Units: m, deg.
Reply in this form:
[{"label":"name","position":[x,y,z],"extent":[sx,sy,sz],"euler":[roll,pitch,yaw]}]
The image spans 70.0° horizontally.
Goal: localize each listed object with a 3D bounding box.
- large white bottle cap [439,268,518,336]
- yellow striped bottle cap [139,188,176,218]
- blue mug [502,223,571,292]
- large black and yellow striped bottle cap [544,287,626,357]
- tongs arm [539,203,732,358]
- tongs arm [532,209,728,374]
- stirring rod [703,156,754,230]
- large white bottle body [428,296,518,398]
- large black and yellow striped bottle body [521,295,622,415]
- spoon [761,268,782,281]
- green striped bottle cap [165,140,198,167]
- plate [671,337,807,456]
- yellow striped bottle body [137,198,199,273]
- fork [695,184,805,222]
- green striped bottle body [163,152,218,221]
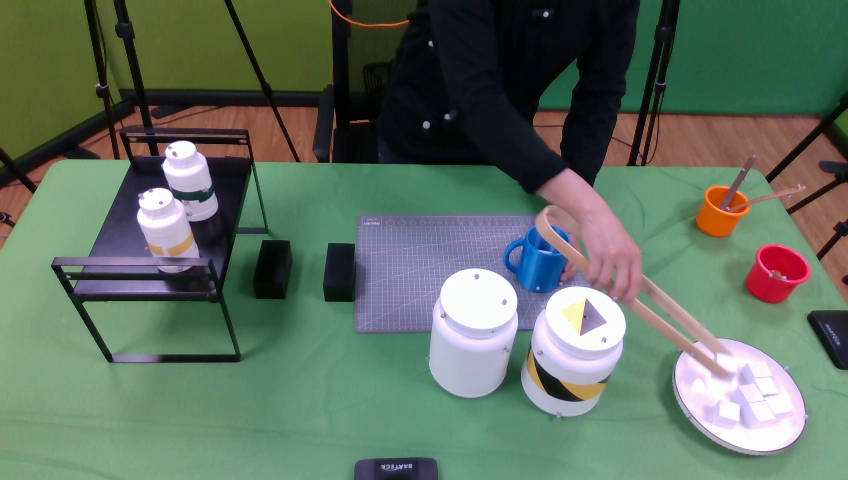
[{"label":"large white bottle cap","position":[0.080,0.089,0.888],"extent":[0.115,0.018,0.114],"euler":[2,47,-2]},{"label":"yellow striped bottle cap","position":[-0.363,-0.051,0.827],"extent":[0.044,0.019,0.044],"euler":[1,47,-1]},{"label":"blue mug","position":[0.203,0.031,1.121],"extent":[0.116,0.106,0.082],"euler":[5,47,1]},{"label":"large black and yellow striped bottle cap","position":[0.232,0.116,0.876],"extent":[0.115,0.019,0.114],"euler":[1,46,-1]},{"label":"tongs arm","position":[0.331,0.070,0.959],"extent":[0.385,0.026,0.050],"euler":[42,52,0]},{"label":"tongs arm","position":[0.319,0.085,0.944],"extent":[0.388,0.028,0.028],"euler":[39,56,-2]},{"label":"stirring rod","position":[0.631,-0.098,1.258],"extent":[0.014,0.006,0.176],"euler":[33,95,29]},{"label":"large white bottle body","position":[0.076,0.147,0.950],"extent":[0.131,0.185,0.130],"euler":[2,46,-2]},{"label":"large black and yellow striped bottle body","position":[0.228,0.173,0.938],"extent":[0.131,0.185,0.130],"euler":[2,47,-2]},{"label":"spoon","position":[0.638,0.060,1.105],"extent":[0.041,0.021,0.194],"euler":[38,11,24]},{"label":"green striped bottle cap","position":[-0.361,-0.128,0.902],"extent":[0.044,0.020,0.044],"euler":[3,47,-3]},{"label":"plate","position":[0.504,0.253,0.984],"extent":[0.208,0.039,0.206],"euler":[2,46,-2]},{"label":"yellow striped bottle body","position":[-0.366,-0.014,0.864],"extent":[0.063,0.121,0.062],"euler":[2,46,-2]},{"label":"fork","position":[0.657,-0.075,1.230],"extent":[0.207,0.019,0.028],"euler":[-23,33,37]},{"label":"green striped bottle body","position":[-0.363,-0.092,0.939],"extent":[0.063,0.120,0.063],"euler":[2,46,-2]}]
